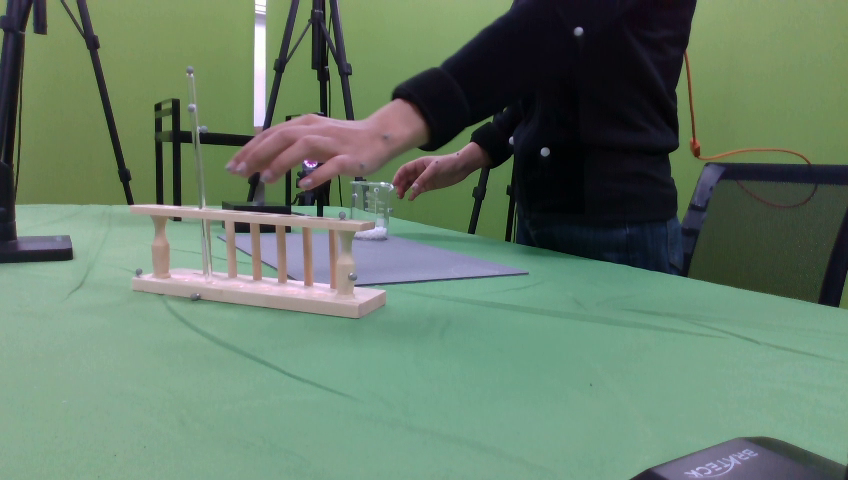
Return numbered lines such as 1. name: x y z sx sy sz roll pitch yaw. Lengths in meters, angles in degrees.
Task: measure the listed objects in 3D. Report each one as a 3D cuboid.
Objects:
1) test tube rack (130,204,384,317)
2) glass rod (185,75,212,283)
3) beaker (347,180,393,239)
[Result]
1. test tube rack: -0.163 0.013 0.589 0.242 0.085 0.067 5 8 18
2. glass rod: -0.211 -0.052 0.567 0.008 0.199 0.008 0 14 0
3. beaker: -0.095 -0.054 1.064 0.084 0.100 0.074 6 9 21
